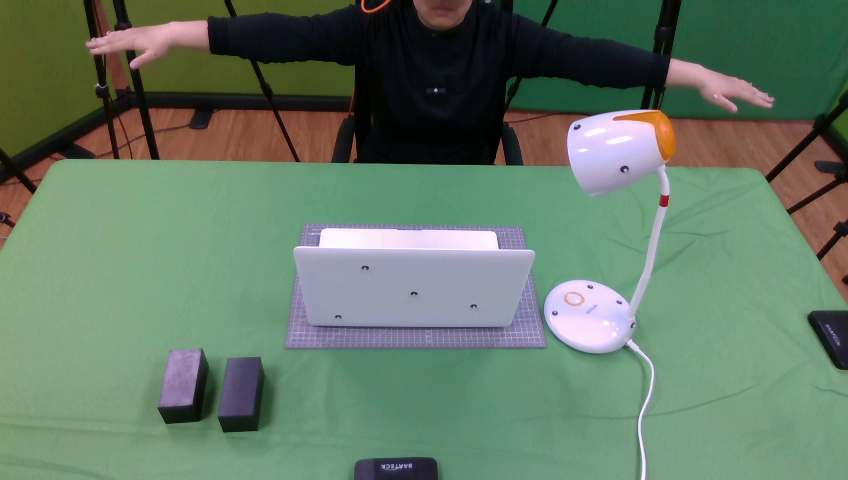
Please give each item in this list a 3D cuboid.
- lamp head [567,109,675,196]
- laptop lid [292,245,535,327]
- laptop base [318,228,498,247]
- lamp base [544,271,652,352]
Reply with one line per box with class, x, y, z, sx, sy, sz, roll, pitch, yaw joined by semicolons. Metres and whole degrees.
lamp head;0.272;-0.123;0.818;0.122;0.113;0.112;-9;35;37
laptop lid;-0.018;0.080;0.956;0.357;0.243;0.013;2;54;-5
laptop base;-0.028;0.066;1.134;0.355;0.023;0.234;1;43;-4
lamp base;0.310;0.086;1.029;0.178;0.181;0.160;32;52;21
